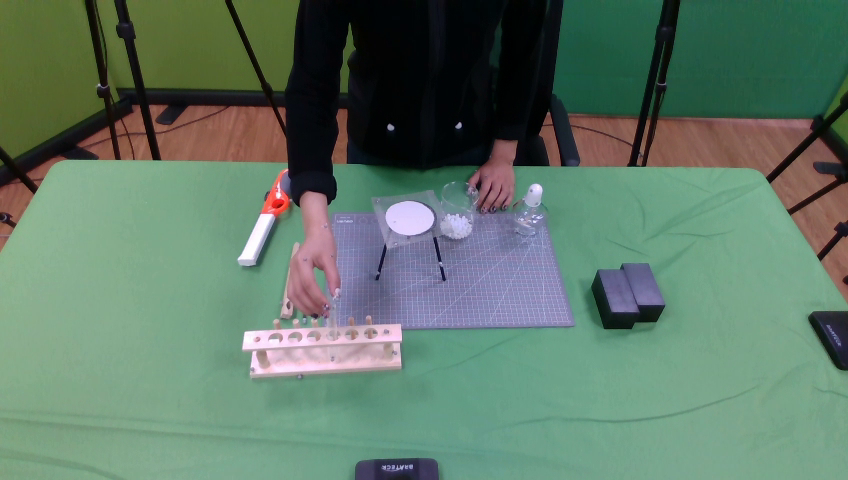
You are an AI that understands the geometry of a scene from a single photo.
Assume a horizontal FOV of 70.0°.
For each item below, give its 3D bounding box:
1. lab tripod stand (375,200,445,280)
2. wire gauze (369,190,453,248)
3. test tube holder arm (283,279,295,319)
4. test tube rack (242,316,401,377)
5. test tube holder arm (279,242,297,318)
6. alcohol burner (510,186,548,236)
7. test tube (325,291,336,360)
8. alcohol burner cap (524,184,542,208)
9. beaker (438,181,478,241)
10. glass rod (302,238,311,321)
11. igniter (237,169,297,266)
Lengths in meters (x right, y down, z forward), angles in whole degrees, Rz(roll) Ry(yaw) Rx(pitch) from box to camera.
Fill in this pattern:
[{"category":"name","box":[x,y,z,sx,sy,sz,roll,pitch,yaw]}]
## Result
[{"category":"lab tripod stand","box":[-0.023,0.004,1.113,0.148,0.132,0.147,3,45,-3]},{"category":"wire gauze","box":[-0.024,-0.042,1.064,0.121,0.011,0.124,-10,48,-16]},{"category":"test tube holder arm","box":[-0.241,0.103,1.084,0.010,0.015,0.087,26,38,-26]},{"category":"test tube rack","box":[-0.160,0.166,0.982,0.242,0.085,0.066,-2,46,-6]},{"category":"test tube holder arm","box":[-0.248,0.069,1.114,0.013,0.015,0.177,25,38,-27]},{"category":"alcohol burner","box":[0.214,-0.066,1.213,0.078,0.119,0.077,3,48,-3]},{"category":"test tube","box":[-0.143,0.133,0.927,0.017,0.151,0.017,4,41,-3]},{"category":"alcohol burner cap","box":[0.216,-0.089,1.186,0.034,0.048,0.033,1,55,-1]},{"category":"beaker","box":[0.066,-0.053,1.200,0.074,0.101,0.083,-17,50,-19]},{"category":"glass rod","box":[-0.218,0.069,1.125,0.008,0.008,0.198,-1,47,-5]},{"category":"igniter","box":[-0.313,-0.054,1.224,0.057,0.025,0.275,1,45,10]}]
